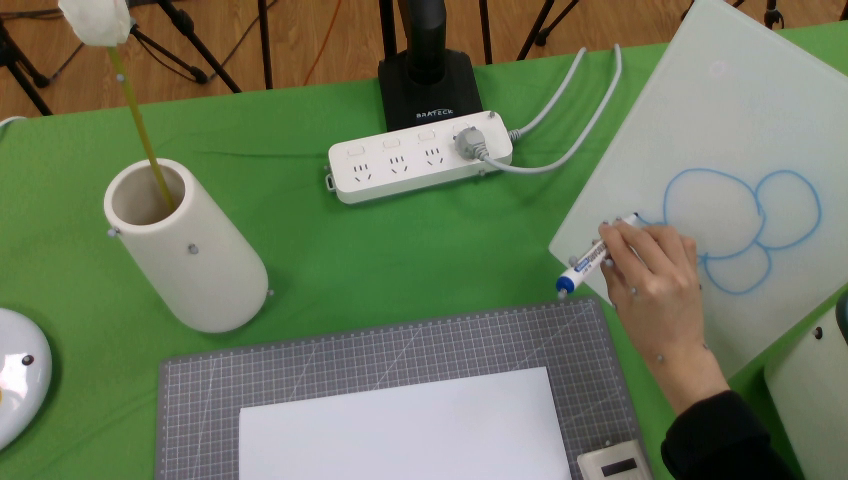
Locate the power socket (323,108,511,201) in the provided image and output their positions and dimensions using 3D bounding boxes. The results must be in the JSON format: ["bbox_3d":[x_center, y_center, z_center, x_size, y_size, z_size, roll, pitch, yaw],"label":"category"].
[{"bbox_3d":[-0.006,-0.100,0.703,0.227,0.033,0.071,-13,64,-7],"label":"power socket"}]

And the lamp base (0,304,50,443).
[{"bbox_3d":[-0.456,0.094,0.517,0.178,0.182,0.160,21,64,14],"label":"lamp base"}]

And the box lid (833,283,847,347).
[{"bbox_3d":[0.469,0.174,0.405,0.263,0.015,0.368,-9,64,-5],"label":"box lid"}]

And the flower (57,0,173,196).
[{"bbox_3d":[-0.209,-0.046,0.488,0.038,0.365,0.043,-19,46,-17],"label":"flower"}]

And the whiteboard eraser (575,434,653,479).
[{"bbox_3d":[0.176,0.230,0.524,0.056,0.042,0.111,-13,63,-8],"label":"whiteboard eraser"}]

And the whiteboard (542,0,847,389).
[{"bbox_3d":[0.287,-0.046,0.558,0.144,0.307,0.215,-30,64,-35],"label":"whiteboard"}]

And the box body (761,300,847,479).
[{"bbox_3d":[0.470,0.210,0.471,0.254,0.161,0.360,-9,63,-5],"label":"box body"}]

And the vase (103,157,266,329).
[{"bbox_3d":[-0.212,0.009,0.552,0.098,0.201,0.097,-1,62,1],"label":"vase"}]

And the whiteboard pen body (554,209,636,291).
[{"bbox_3d":[0.152,0.003,0.521,0.017,0.017,0.141,39,49,19],"label":"whiteboard pen body"}]

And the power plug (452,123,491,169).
[{"bbox_3d":[0.051,-0.098,0.676,0.035,0.053,0.072,-4,64,-2],"label":"power plug"}]
